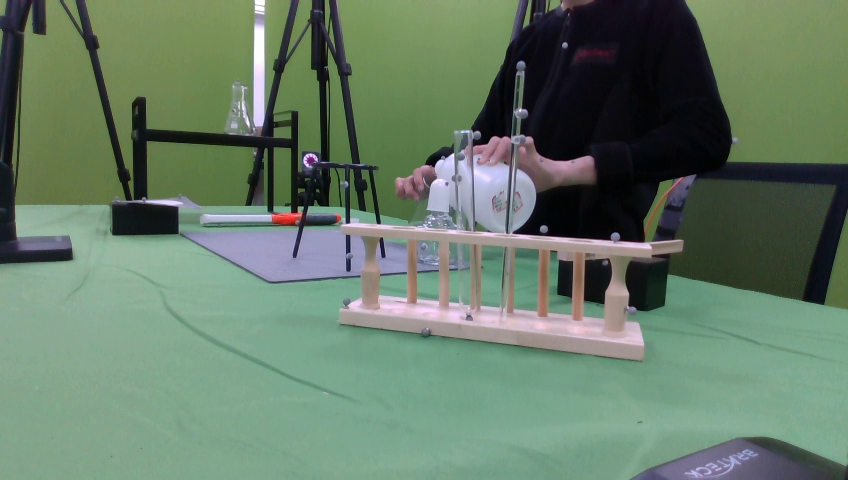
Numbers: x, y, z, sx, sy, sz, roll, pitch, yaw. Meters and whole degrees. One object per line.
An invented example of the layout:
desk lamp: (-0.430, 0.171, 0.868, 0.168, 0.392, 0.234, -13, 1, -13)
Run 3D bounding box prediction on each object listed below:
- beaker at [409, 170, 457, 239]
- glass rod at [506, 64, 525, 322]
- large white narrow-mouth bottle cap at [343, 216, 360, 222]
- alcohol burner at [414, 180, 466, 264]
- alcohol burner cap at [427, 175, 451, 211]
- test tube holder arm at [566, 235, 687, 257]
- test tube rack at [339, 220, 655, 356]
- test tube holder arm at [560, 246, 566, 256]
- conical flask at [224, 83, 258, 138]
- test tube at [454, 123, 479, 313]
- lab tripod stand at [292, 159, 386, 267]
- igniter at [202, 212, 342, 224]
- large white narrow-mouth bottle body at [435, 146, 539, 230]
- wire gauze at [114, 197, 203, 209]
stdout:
beaker: (0.020, -0.057, 1.042, 0.074, 0.100, 0.083, 9, 33, -19)
glass rod: (0.069, -0.030, 0.458, 0.008, 0.199, 0.008, 0, 15, 0)
large white narrow-mouth bottle cap: (-0.148, -0.036, 1.234, 0.038, 0.024, 0.037, 2, 8, 0)
alcohol burner: (0.021, -0.028, 0.826, 0.078, 0.119, 0.078, 0, 6, 0)
alcohol burner cap: (0.023, -0.064, 0.822, 0.034, 0.048, 0.034, 8, 5, 0)
test tube holder arm: (0.215, 0.006, 0.630, 0.179, 0.015, 0.013, -3, 10, -31)
test tube rack: (0.056, 0.032, 0.495, 0.242, 0.085, 0.067, 4, 7, 15)
test tube holder arm: (0.173, 0.007, 0.612, 0.088, 0.015, 0.010, -3, 10, -30)
conical flask: (-0.422, -0.299, 1.395, 0.075, 0.122, 0.075, 2, 7, 0)
test tube: (0.034, -0.016, 0.477, 0.017, 0.150, 0.017, -2, 9, 1)
lab tripod stand: (-0.104, -0.039, 0.798, 0.148, 0.131, 0.148, 2, 5, 0)
igniter: (-0.298, -0.044, 1.216, 0.278, 0.025, 0.057, -2, -2, -32)
large white narrow-mouth bottle body: (0.080, -0.091, 0.929, 0.102, 0.101, 0.193, -3, 23, -33)
wire gauze: (-0.447, -0.062, 1.015, 0.126, 0.011, 0.121, -2, 8, -31)
